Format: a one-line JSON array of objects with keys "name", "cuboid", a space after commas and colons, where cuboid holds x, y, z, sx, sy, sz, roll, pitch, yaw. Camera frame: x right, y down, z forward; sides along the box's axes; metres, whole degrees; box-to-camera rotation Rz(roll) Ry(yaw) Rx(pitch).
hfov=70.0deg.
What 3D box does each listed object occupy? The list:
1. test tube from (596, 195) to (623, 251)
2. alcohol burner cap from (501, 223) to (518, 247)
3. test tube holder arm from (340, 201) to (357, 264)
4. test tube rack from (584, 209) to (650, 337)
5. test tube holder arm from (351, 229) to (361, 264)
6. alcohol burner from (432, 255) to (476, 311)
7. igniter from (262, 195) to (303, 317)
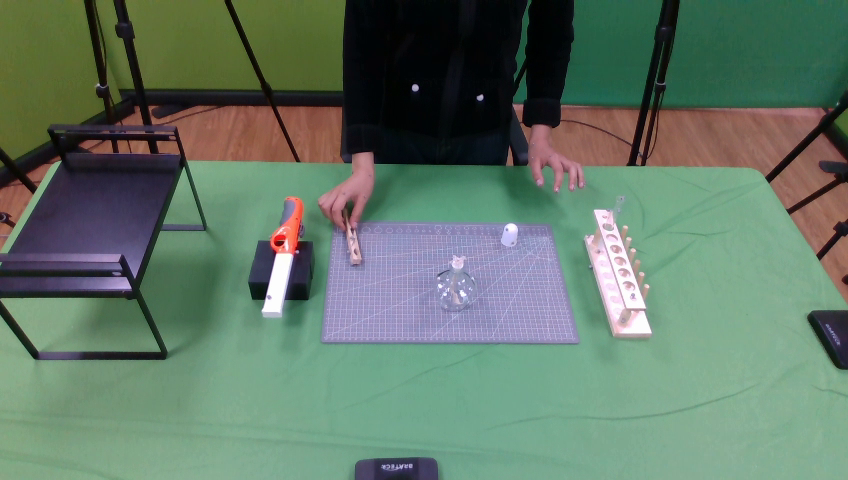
[{"name": "test tube", "cuboid": [0.347, -0.029, 1.140, 0.017, 0.151, 0.017, 1, 52, -1]}, {"name": "alcohol burner cap", "cuboid": [0.172, -0.013, 1.206, 0.034, 0.048, 0.033, 1, 45, -1]}, {"name": "test tube holder arm", "cuboid": [-0.151, -0.019, 1.204, 0.013, 0.015, 0.177, 10, 39, -26]}, {"name": "test tube rack", "cuboid": [0.365, 0.056, 1.129, 0.067, 0.085, 0.240, 1, 46, -4]}, {"name": "test tube holder arm", "cuboid": [-0.135, 0.012, 1.175, 0.010, 0.015, 0.087, 10, 39, -26]}, {"name": "alcohol burner", "cuboid": [0.055, 0.070, 1.068, 0.078, 0.119, 0.077, 3, 45, -3]}, {"name": "igniter", "cuboid": [-0.253, 0.020, 1.090, 0.057, 0.025, 0.275, 0, 49, -1]}]
